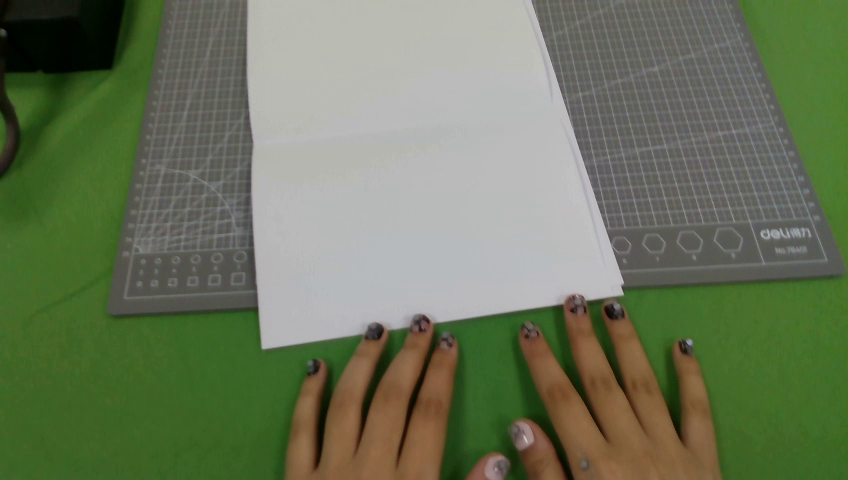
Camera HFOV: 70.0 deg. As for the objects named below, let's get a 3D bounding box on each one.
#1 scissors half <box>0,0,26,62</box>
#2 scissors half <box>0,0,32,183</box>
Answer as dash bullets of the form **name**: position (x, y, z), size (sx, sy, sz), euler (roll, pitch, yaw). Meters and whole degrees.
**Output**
- **scissors half**: position (-0.286, -0.129, 0.398), size (0.013, 0.040, 0.173), euler (-2, 61, 3)
- **scissors half**: position (-0.283, -0.122, 0.417), size (0.013, 0.040, 0.174), euler (-3, 78, 9)
